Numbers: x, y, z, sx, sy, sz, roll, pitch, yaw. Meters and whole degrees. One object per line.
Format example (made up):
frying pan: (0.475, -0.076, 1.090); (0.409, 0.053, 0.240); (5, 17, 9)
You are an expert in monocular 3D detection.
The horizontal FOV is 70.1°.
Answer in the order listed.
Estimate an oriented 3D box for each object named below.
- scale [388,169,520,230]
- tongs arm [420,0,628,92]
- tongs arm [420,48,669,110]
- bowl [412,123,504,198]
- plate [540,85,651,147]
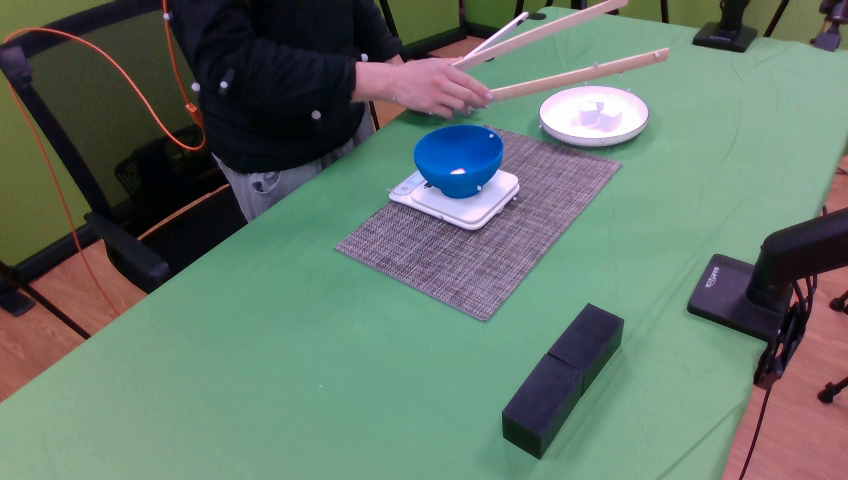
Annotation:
scale: (0.050, -0.090, 1.051); (0.199, 0.032, 0.149); (24, 49, 31)
tongs arm: (0.165, -0.322, 0.981); (0.388, 0.028, 0.028); (-24, 67, -6)
tongs arm: (0.186, -0.259, 0.945); (0.385, 0.026, 0.050); (-14, 63, -1)
bowl: (0.060, -0.123, 1.007); (0.151, 0.077, 0.150); (-5, 41, 5)
plate: (0.333, -0.239, 1.186); (0.207, 0.039, 0.206); (-4, 41, 4)
